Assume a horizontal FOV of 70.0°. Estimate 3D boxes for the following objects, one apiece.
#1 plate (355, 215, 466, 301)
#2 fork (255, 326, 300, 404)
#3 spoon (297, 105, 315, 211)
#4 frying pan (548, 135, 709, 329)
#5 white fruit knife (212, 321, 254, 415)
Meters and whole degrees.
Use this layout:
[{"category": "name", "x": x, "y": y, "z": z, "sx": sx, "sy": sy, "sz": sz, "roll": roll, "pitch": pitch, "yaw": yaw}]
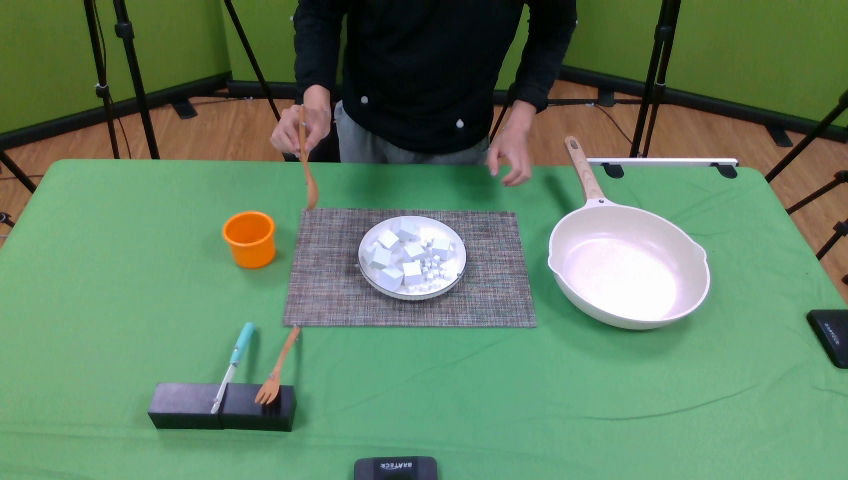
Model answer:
[{"category": "plate", "x": -0.025, "y": 0.038, "z": 1.143, "sx": 0.208, "sy": 0.039, "sz": 0.206, "roll": 3, "pitch": 46, "yaw": -2}, {"category": "fork", "x": -0.226, "y": 0.192, "z": 0.955, "sx": 0.028, "sy": 0.019, "sz": 0.206, "roll": 0, "pitch": 27, "yaw": 4}, {"category": "spoon", "x": -0.210, "y": -0.140, "z": 1.056, "sx": 0.021, "sy": 0.194, "sz": 0.041, "roll": 2, "pitch": 30, "yaw": 10}, {"category": "frying pan", "x": 0.360, "y": -0.033, "z": 1.200, "sx": 0.307, "sy": 0.103, "sz": 0.484, "roll": -4, "pitch": 55, "yaw": -9}, {"category": "white fruit knife", "x": -0.298, "y": 0.193, "z": 0.947, "sx": 0.016, "sy": 0.027, "sz": 0.206, "roll": 1, "pitch": 31, "yaw": 0}]
